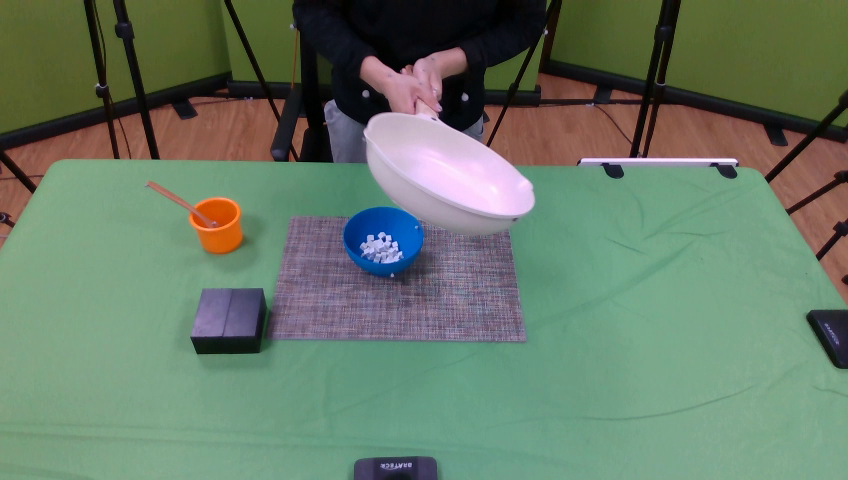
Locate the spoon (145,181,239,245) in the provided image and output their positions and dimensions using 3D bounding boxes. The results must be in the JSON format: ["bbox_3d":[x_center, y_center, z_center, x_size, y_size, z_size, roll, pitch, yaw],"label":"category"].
[{"bbox_3d":[-0.429,-0.052,1.126,0.021,0.195,0.041,-27,34,33],"label":"spoon"}]

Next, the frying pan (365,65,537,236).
[{"bbox_3d":[0.021,-0.176,1.053,0.308,0.103,0.484,13,40,-24],"label":"frying pan"}]

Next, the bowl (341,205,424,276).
[{"bbox_3d":[-0.079,0.014,1.133,0.151,0.077,0.150,2,46,-2],"label":"bowl"}]
